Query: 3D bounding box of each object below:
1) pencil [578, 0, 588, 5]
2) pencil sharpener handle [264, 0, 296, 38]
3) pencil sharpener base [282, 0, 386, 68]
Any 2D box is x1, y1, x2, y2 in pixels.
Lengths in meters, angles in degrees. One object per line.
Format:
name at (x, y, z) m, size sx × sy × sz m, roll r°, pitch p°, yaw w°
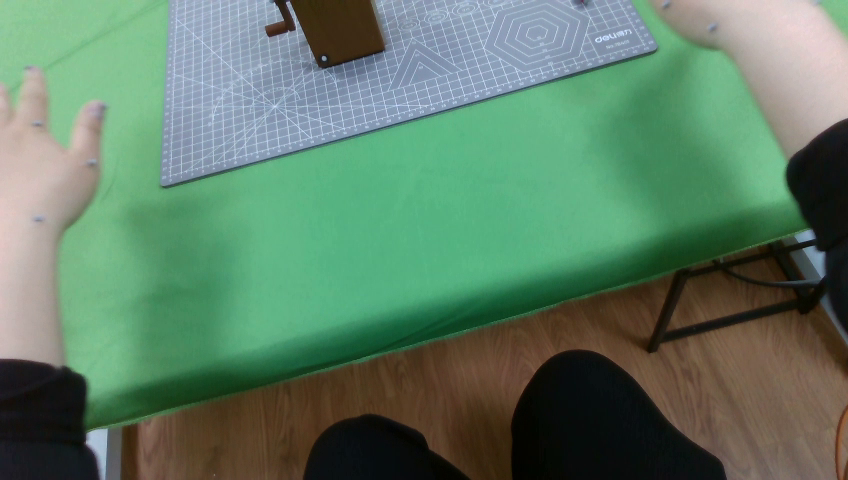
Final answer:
pencil at (0.124, -0.296, 0.609) m, size 0.012 × 0.012 × 0.192 m, roll -18°, pitch 57°, yaw 1°
pencil sharpener handle at (-0.137, -0.211, 0.538) m, size 0.030 × 0.068 × 0.035 m, roll -17°, pitch 57°, yaw 2°
pencil sharpener base at (-0.086, -0.219, 0.547) m, size 0.077 × 0.108 × 0.060 m, roll -17°, pitch 58°, yaw 2°
